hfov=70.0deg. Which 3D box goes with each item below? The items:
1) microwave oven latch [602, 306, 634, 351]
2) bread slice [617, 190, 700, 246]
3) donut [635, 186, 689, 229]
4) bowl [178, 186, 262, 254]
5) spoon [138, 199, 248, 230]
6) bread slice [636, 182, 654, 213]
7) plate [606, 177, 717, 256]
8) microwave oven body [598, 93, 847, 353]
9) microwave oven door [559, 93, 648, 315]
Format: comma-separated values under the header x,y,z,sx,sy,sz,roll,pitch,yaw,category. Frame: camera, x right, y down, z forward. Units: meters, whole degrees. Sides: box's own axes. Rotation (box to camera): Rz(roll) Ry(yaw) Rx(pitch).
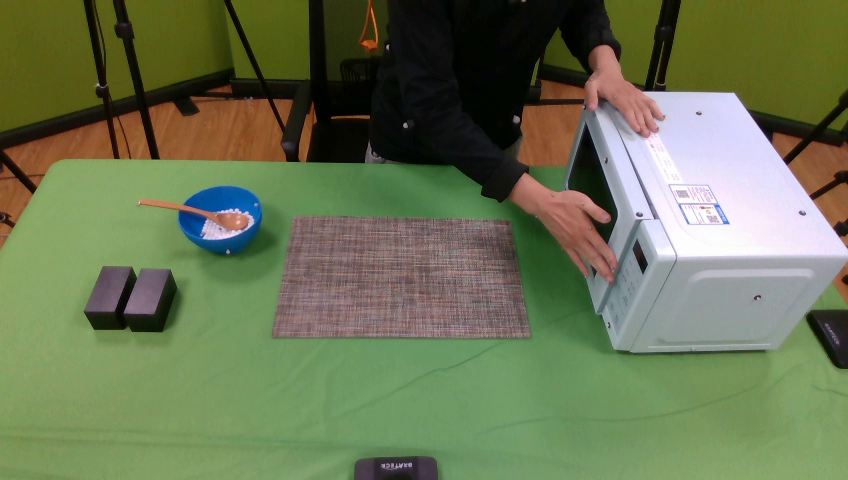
x,y,z,sx,sy,sz,roll,pitch,yaw,category
0.332,0.153,1.044,0.030,0.029,0.078,-1,45,-4,microwave oven latch
0.461,-0.040,1.176,0.133,0.018,0.107,28,58,29,bread slice
0.454,-0.062,1.160,0.099,0.048,0.098,-1,48,2,donut
-0.383,-0.026,1.158,0.151,0.077,0.150,2,46,-2,bowl
-0.431,-0.053,1.135,0.194,0.022,0.041,15,48,-20,spoon
0.459,-0.078,1.139,0.131,0.019,0.105,35,51,30,bread slice
0.456,-0.043,1.181,0.208,0.039,0.206,1,46,-1,plate
0.476,-0.041,1.109,0.326,0.261,0.438,-1,45,-4,microwave oven body
0.322,-0.074,1.122,0.039,0.245,0.353,1,46,-3,microwave oven door
